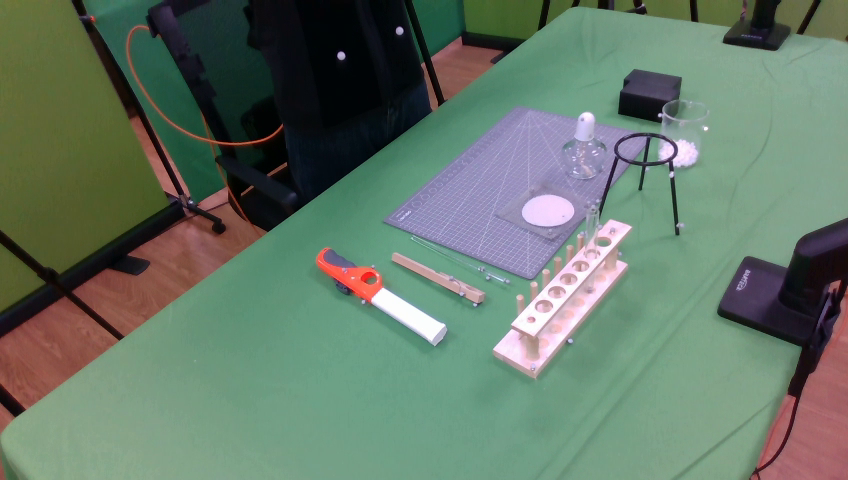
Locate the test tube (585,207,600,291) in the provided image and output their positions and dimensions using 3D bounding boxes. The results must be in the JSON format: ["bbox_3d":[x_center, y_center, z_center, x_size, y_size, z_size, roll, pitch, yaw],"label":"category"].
[{"bbox_3d":[0.222,0.016,0.797,0.017,0.151,0.017,-6,45,7],"label":"test tube"}]

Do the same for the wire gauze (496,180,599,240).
[{"bbox_3d":[0.206,-0.050,1.012,0.125,0.011,0.120,-34,45,-26],"label":"wire gauze"}]

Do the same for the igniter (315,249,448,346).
[{"bbox_3d":[-0.074,0.078,0.902,0.274,0.025,0.057,28,63,36],"label":"igniter"}]

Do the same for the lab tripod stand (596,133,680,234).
[{"bbox_3d":[0.338,-0.091,0.940,0.148,0.132,0.147,-7,39,6],"label":"lab tripod stand"}]

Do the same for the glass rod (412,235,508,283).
[{"bbox_3d":[0.051,0.028,0.951,0.198,0.008,0.008,25,51,37],"label":"glass rod"}]

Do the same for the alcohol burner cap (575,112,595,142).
[{"bbox_3d":[0.276,-0.194,1.028,0.034,0.048,0.033,-2,45,3],"label":"alcohol burner cap"}]

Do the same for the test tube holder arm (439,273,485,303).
[{"bbox_3d":[0.053,0.070,0.896,0.087,0.015,0.010,24,15,34],"label":"test tube holder arm"}]

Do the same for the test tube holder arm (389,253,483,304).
[{"bbox_3d":[0.015,0.056,0.916,0.177,0.015,0.013,24,15,33],"label":"test tube holder arm"}]

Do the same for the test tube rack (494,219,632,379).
[{"bbox_3d":[0.191,0.068,0.818,0.066,0.085,0.243,25,51,35],"label":"test tube rack"}]

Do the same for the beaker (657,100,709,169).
[{"bbox_3d":[0.449,-0.183,1.054,0.073,0.101,0.084,15,46,27],"label":"beaker"}]

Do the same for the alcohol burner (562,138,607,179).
[{"bbox_3d":[0.280,-0.167,1.052,0.078,0.119,0.077,-5,39,4],"label":"alcohol burner"}]
